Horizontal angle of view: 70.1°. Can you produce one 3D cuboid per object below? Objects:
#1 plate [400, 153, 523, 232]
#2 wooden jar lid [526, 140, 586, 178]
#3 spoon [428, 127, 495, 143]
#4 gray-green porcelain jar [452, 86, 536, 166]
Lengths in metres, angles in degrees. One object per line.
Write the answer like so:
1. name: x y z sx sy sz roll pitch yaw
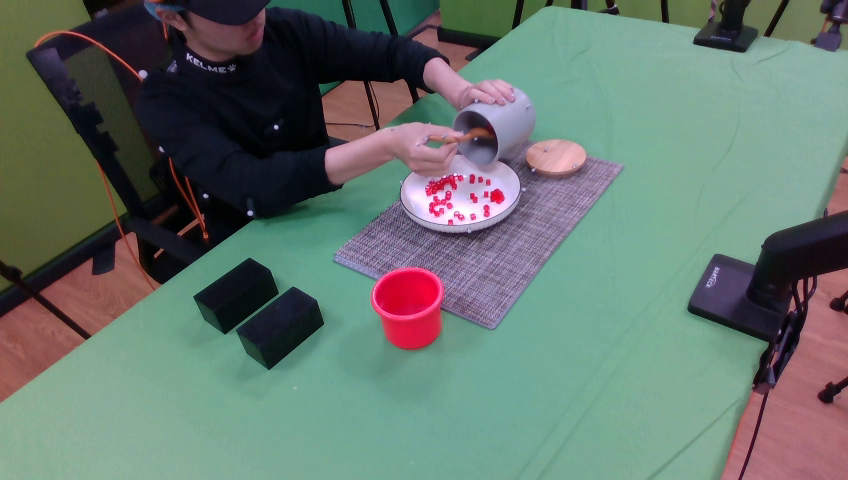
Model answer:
1. plate: 0.065 -0.078 1.034 0.207 0.039 0.206 -4 41 4
2. wooden jar lid: 0.240 -0.147 1.103 0.108 0.021 0.108 -4 42 4
3. spoon: 0.063 -0.169 0.992 0.041 0.021 0.195 14 21 30
4. gray-green porcelain jar: 0.129 -0.206 1.067 0.105 0.106 0.127 26 48 33
